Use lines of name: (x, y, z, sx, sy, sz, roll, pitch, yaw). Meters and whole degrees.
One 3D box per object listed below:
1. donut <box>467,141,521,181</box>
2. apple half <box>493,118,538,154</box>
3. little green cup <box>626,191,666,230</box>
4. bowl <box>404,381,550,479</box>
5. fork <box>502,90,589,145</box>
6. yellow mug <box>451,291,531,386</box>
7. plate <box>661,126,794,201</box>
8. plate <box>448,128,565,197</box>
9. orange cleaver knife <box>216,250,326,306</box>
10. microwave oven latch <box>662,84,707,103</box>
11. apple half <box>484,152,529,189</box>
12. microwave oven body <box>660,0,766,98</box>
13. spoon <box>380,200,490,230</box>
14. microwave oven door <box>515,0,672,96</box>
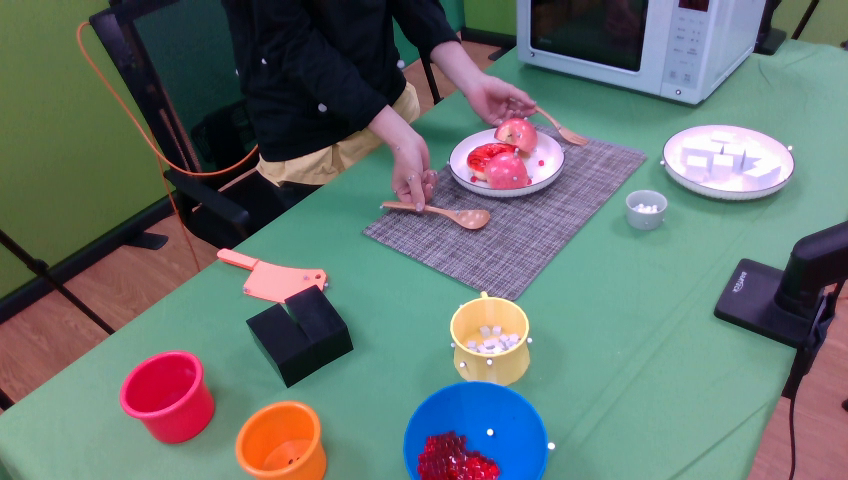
donut: (0.126, -0.144, 1.090, 0.099, 0.048, 0.098, -6, 38, 5)
apple half: (0.175, -0.196, 1.113, 0.080, 0.053, 0.075, 29, 12, 34)
little green cup: (0.352, -0.046, 0.963, 0.061, 0.039, 0.061, -4, 40, 4)
bowl: (0.058, 0.235, 0.645, 0.151, 0.077, 0.150, -4, 39, 4)
fork: (0.235, -0.242, 1.188, 0.206, 0.018, 0.028, 41, 56, 19)
yellow mug: (0.085, 0.120, 0.786, 0.100, 0.064, 0.130, -7, 39, 1)
plate: (0.513, -0.128, 1.035, 0.207, 0.039, 0.206, -4, 40, 4)
plate: (0.150, -0.138, 1.096, 0.209, 0.038, 0.208, -4, 40, 4)
orange cleaver knife: (-0.248, 0.058, 0.945, 0.210, 0.012, 0.077, 12, 49, 20)
microwave oven latch: (0.517, -0.296, 1.204, 0.078, 0.029, 0.030, 27, 52, 35)
apple half: (0.144, -0.116, 1.031, 0.081, 0.033, 0.081, 3, 77, -11)
microwave oven body: (0.472, -0.513, 1.317, 0.438, 0.261, 0.327, 26, 51, 34)
spoon: (0.016, -0.049, 1.015, 0.193, 0.022, 0.041, 12, 76, 12)
microwave oven door: (0.343, -0.455, 1.259, 0.353, 0.245, 0.039, 26, 51, 33)
